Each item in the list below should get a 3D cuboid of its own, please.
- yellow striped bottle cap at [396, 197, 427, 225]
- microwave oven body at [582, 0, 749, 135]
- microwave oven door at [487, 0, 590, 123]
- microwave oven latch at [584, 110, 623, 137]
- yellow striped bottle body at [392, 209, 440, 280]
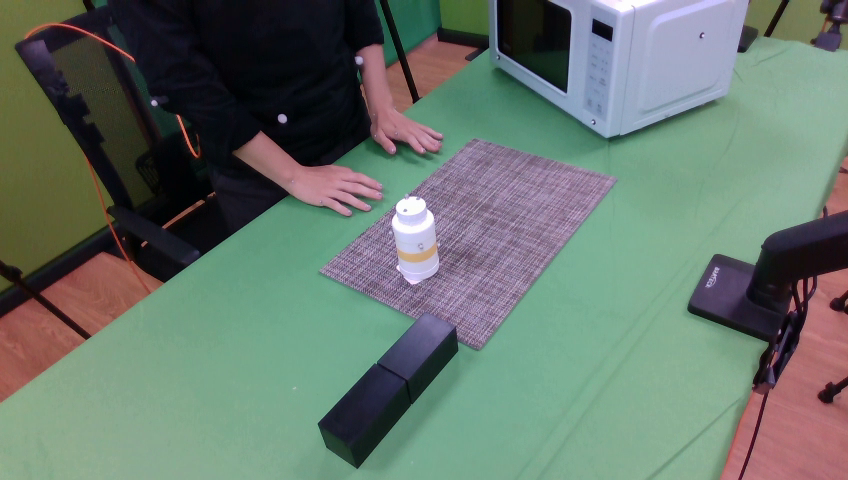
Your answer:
[{"bbox_3d":[-0.018,-0.042,0.858,0.044,0.019,0.044,-5,38,4],"label":"yellow striped bottle cap"},{"bbox_3d":[0.382,-0.444,1.246,0.327,0.261,0.437,-22,42,-16],"label":"microwave oven body"},{"bbox_3d":[0.231,-0.420,1.230,0.039,0.245,0.352,-22,43,-16],"label":"microwave oven door"},{"bbox_3d":[0.337,-0.222,1.142,0.030,0.029,0.078,-21,42,-14],"label":"microwave oven latch"},{"bbox_3d":[-0.013,-0.003,0.892,0.063,0.121,0.062,-4,41,4],"label":"yellow striped bottle body"}]
